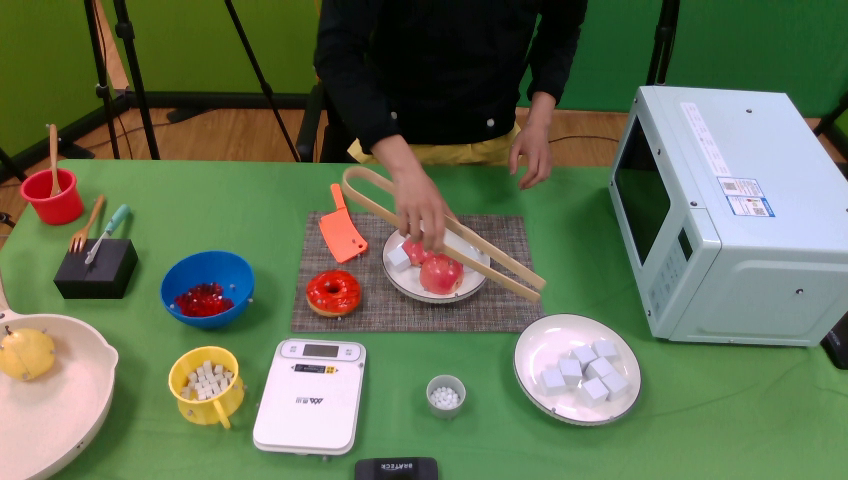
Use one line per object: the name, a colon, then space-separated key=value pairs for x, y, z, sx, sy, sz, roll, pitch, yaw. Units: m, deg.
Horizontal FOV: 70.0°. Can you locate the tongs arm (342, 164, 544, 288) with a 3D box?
tongs arm: x=0.027 y=-0.021 z=1.021 sx=0.384 sy=0.026 sz=0.050 roll=34 pitch=54 yaw=9

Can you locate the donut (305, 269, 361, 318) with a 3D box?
donut: x=-0.160 y=0.095 z=1.075 sx=0.099 sy=0.048 sz=0.098 roll=4 pitch=44 yaw=-3

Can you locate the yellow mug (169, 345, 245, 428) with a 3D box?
yellow mug: x=-0.322 y=0.230 z=0.922 sx=0.100 sy=0.064 sz=0.130 roll=-24 pitch=53 yaw=-25

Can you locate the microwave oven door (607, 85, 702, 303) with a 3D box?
microwave oven door: x=0.423 y=-0.094 z=1.140 sx=0.039 sy=0.245 sz=0.353 roll=2 pitch=46 yaw=-1

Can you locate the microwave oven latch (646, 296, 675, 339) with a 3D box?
microwave oven latch: x=0.412 y=0.134 z=1.061 sx=0.030 sy=0.029 sz=0.078 roll=4 pitch=45 yaw=1

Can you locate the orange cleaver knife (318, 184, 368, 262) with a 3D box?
orange cleaver knife: x=-0.173 y=-0.037 z=1.218 sx=0.077 sy=0.012 sz=0.210 roll=-16 pitch=50 yaw=-12

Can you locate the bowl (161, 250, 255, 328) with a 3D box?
bowl: x=-0.362 y=0.098 z=1.039 sx=0.151 sy=0.077 sz=0.150 roll=2 pitch=45 yaw=-2

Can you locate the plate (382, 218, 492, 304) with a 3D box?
plate: x=0.023 y=0.042 z=1.143 sx=0.209 sy=0.038 sz=0.208 roll=2 pitch=46 yaw=-2

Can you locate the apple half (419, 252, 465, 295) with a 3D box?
apple half: x=0.034 y=0.056 z=1.109 sx=0.074 sy=0.053 sz=0.081 roll=38 pitch=55 yaw=25

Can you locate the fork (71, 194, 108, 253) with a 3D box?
fork: x=-0.634 y=-0.036 z=1.158 sx=0.028 sy=0.019 sz=0.206 roll=-8 pitch=31 yaw=-8

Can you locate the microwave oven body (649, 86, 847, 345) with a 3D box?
microwave oven body: x=0.567 y=-0.053 z=1.118 sx=0.326 sy=0.261 sz=0.439 roll=2 pitch=45 yaw=-1

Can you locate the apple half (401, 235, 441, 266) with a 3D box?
apple half: x=-0.005 y=0.014 z=1.159 sx=0.081 sy=0.033 sz=0.081 roll=5 pitch=44 yaw=-4

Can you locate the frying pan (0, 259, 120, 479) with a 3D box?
frying pan: x=-0.647 y=0.164 z=0.936 sx=0.307 sy=0.103 sz=0.485 roll=-19 pitch=58 yaw=-22

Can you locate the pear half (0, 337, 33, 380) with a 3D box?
pear half: x=-0.631 y=0.184 z=0.921 sx=0.070 sy=0.088 sz=0.031 roll=29 pitch=49 yaw=19

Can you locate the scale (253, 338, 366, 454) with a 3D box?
scale: x=-0.175 y=0.236 z=0.951 sx=0.149 sy=0.032 sz=0.199 roll=5 pitch=46 yaw=0

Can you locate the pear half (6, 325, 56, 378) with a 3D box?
pear half: x=-0.608 y=0.158 z=0.935 sx=0.076 sy=0.110 sz=0.056 roll=31 pitch=51 yaw=20

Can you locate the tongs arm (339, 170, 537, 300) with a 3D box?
tongs arm: x=0.016 y=-0.007 z=1.007 sx=0.387 sy=0.028 sz=0.028 roll=31 pitch=57 yaw=7

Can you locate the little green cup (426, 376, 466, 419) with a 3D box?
little green cup: x=0.033 y=0.248 z=0.950 sx=0.061 sy=0.039 sz=0.061 roll=2 pitch=46 yaw=-2

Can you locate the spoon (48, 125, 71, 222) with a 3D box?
spoon: x=-0.718 y=-0.131 z=1.188 sx=0.041 sy=0.021 sz=0.193 roll=-3 pitch=90 yaw=-7

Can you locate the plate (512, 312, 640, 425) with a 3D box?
plate: x=0.246 y=0.213 z=0.999 sx=0.208 sy=0.039 sz=0.206 roll=2 pitch=46 yaw=-2

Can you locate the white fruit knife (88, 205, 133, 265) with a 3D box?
white fruit knife: x=-0.584 y=-0.013 z=1.129 sx=0.016 sy=0.027 sz=0.206 roll=0 pitch=31 yaw=-5
